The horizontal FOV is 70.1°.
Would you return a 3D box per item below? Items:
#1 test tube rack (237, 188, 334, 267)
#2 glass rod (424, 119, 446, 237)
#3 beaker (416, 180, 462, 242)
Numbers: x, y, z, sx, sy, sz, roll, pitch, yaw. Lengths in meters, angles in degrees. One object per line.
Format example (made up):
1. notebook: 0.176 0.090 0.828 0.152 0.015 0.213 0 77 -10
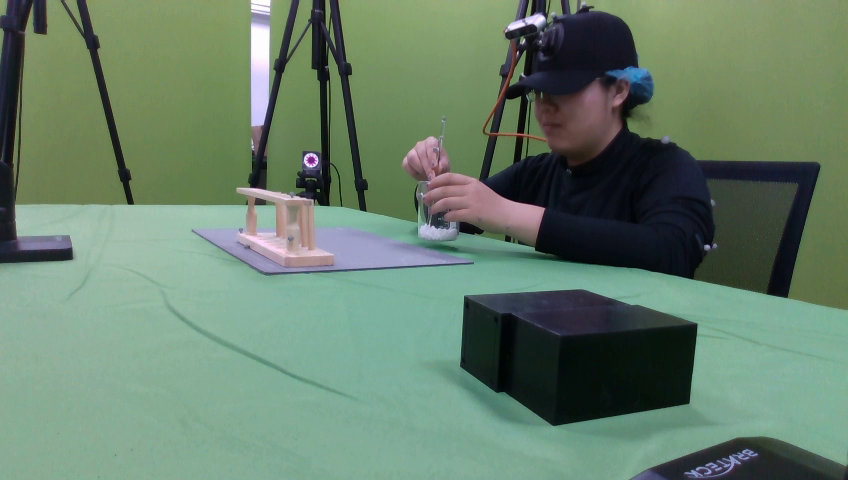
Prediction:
1. test tube rack: -0.202 -0.024 0.855 0.067 0.085 0.241 -2 8 -30
2. glass rod: 0.018 -0.103 1.007 0.008 0.199 0.008 9 5 0
3. beaker: 0.028 -0.049 1.007 0.083 0.100 0.074 5 7 39
